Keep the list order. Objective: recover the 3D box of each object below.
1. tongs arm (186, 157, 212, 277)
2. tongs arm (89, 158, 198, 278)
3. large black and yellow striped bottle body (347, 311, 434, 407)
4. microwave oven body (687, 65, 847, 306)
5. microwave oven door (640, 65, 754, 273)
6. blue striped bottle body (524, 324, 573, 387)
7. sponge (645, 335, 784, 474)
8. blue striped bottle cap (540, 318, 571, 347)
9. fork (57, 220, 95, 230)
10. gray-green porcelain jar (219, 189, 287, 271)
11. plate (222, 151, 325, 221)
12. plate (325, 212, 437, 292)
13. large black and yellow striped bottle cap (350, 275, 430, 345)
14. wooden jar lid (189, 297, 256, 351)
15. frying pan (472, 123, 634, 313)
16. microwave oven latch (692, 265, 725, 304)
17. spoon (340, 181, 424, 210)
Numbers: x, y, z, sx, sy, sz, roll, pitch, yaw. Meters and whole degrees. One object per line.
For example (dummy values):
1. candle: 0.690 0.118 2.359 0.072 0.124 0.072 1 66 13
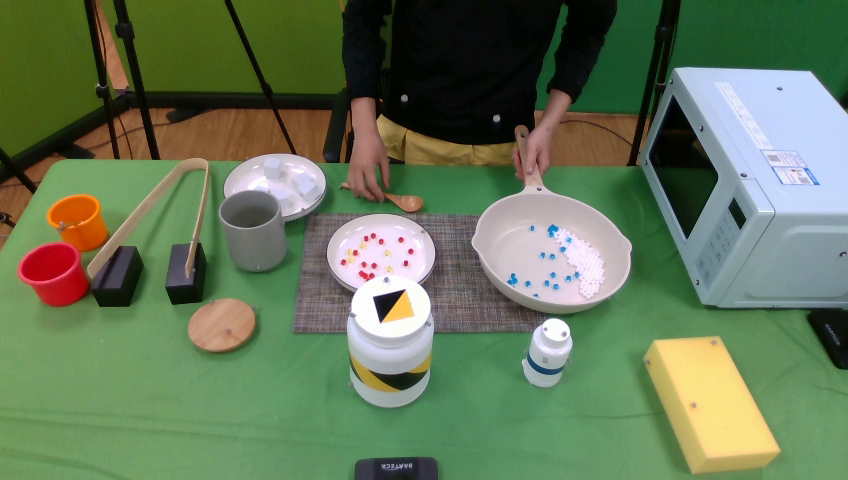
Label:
1. tongs arm: -0.445 -0.058 1.168 0.051 0.026 0.382 -5 37 -6
2. tongs arm: -0.529 -0.058 1.164 0.028 0.028 0.385 1 36 8
3. large black and yellow striped bottle body: -0.052 0.157 0.930 0.131 0.185 0.130 2 47 -2
4. microwave oven body: 0.669 -0.111 1.176 0.326 0.261 0.439 0 46 -3
5. microwave oven door: 0.523 -0.147 1.193 0.039 0.245 0.353 0 47 -3
6. blue striped bottle body: 0.200 0.178 0.970 0.063 0.121 0.062 2 46 -2
7. sponge: 0.449 0.253 0.956 0.118 0.061 0.205 -4 46 -7
8. blue striped bottle cap: 0.203 0.142 0.933 0.044 0.021 0.044 3 49 -3
9. fork: -0.624 -0.027 1.086 0.028 0.207 0.018 -3 92 -17
10. gray-green porcelain jar: -0.310 -0.014 1.113 0.106 0.127 0.105 2 46 -2
11. plate: -0.310 -0.106 1.262 0.208 0.039 0.206 2 47 -2
12. plate: -0.080 0.030 1.143 0.209 0.038 0.208 3 46 -2
13. large black and yellow striped bottle cap: -0.048 0.097 0.868 0.115 0.019 0.114 3 48 -3
14. wooden jar lid: -0.342 0.145 1.033 0.108 0.021 0.107 2 45 -2
15. frying pan: 0.235 -0.060 1.207 0.307 0.103 0.484 2 55 -6
16. microwave oven latch: 0.522 0.081 1.116 0.030 0.029 0.078 1 46 -2
17. spoon: -0.090 -0.100 1.283 0.193 0.022 0.041 18 66 13
